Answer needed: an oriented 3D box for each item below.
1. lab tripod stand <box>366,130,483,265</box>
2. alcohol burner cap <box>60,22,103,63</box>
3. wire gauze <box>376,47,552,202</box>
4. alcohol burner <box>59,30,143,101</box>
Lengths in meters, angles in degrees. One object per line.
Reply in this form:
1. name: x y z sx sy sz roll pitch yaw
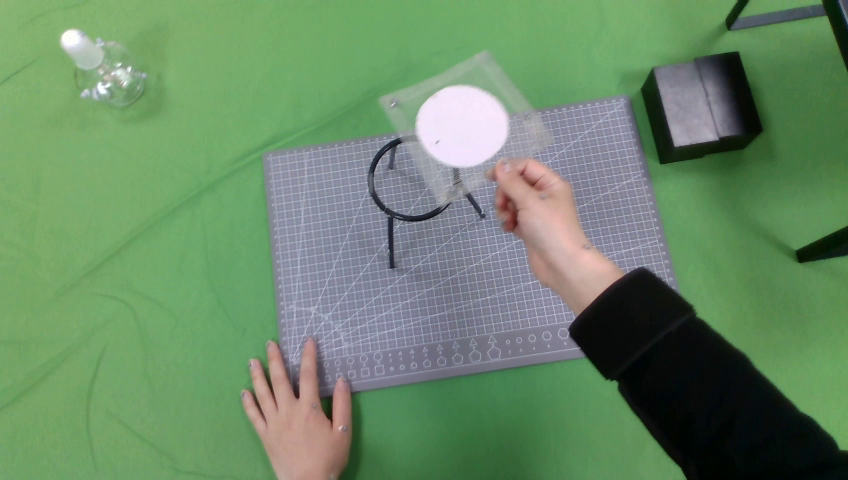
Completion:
1. lab tripod stand: -0.011 -0.051 0.645 0.148 0.132 0.147 -1 76 4
2. alcohol burner cap: -0.387 -0.225 0.678 0.034 0.048 0.033 1 77 -4
3. wire gauze: 0.036 -0.112 0.557 0.121 0.011 0.124 -28 72 -10
4. alcohol burner: -0.385 -0.215 0.713 0.078 0.119 0.077 0 77 2
